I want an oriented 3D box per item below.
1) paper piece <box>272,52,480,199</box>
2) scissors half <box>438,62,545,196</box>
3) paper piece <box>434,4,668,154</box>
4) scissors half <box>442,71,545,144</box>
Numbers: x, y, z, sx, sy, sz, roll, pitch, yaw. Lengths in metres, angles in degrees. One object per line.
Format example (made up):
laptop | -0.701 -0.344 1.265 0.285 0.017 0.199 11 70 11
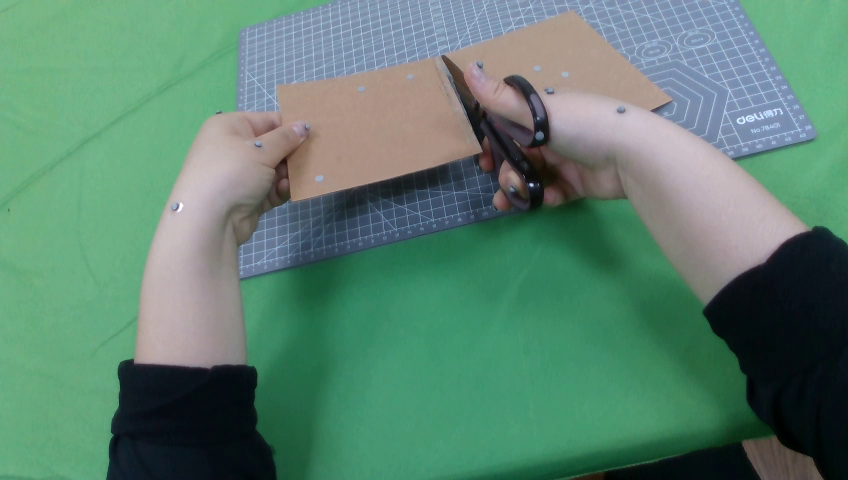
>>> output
paper piece | -0.042 -0.092 0.452 0.138 0.009 0.134 -14 46 -3
scissors half | 0.041 -0.088 0.438 0.013 0.040 0.173 -18 49 -11
paper piece | 0.098 -0.133 0.485 0.135 0.004 0.134 -24 60 -13
scissors half | 0.039 -0.105 0.425 0.013 0.040 0.173 -14 26 -14
